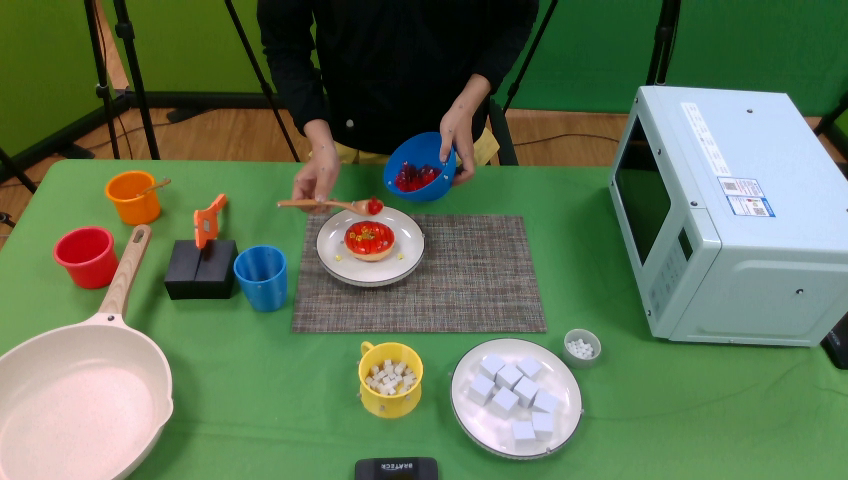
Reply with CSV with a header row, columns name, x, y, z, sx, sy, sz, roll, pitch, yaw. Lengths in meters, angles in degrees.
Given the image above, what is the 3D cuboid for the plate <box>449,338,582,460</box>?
name,x,y,z,sx,sy,sz,roll,pitch,yaw
plate,0.141,0.251,0.955,0.208,0.039,0.206,2,47,-2

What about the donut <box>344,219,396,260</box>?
name,x,y,z,sx,sy,sz,roll,pitch,yaw
donut,-0.103,-0.003,1.158,0.099,0.048,0.098,3,43,-2

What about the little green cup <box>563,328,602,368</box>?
name,x,y,z,sx,sy,sz,roll,pitch,yaw
little green cup,0.265,0.184,1.025,0.061,0.039,0.061,1,46,-1

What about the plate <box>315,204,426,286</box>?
name,x,y,z,sx,sy,sz,roll,pitch,yaw
plate,-0.101,0.012,1.159,0.209,0.038,0.208,2,46,-2

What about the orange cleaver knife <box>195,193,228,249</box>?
name,x,y,z,sx,sy,sz,roll,pitch,yaw
orange cleaver knife,-0.406,-0.041,1.163,0.012,0.077,0.210,0,18,-3

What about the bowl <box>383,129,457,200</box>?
name,x,y,z,sx,sy,sz,roll,pitch,yaw
bowl,0.006,-0.130,1.165,0.151,0.077,0.150,-18,49,22

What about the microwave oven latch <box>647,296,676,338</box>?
name,x,y,z,sx,sy,sz,roll,pitch,yaw
microwave oven latch,0.413,0.133,1.060,0.030,0.029,0.078,4,46,1

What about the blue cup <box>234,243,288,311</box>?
name,x,y,z,sx,sy,sz,roll,pitch,yaw
blue cup,-0.276,0.072,1.052,0.093,0.101,0.092,1,48,-1

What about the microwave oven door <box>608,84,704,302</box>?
name,x,y,z,sx,sy,sz,roll,pitch,yaw
microwave oven door,0.424,-0.096,1.138,0.039,0.245,0.353,2,46,-1

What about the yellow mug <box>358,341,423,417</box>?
name,x,y,z,sx,sy,sz,roll,pitch,yaw
yellow mug,-0.062,0.210,0.961,0.100,0.064,0.130,-29,54,-27

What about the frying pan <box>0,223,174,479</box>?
name,x,y,z,sx,sy,sz,roll,pitch,yaw
frying pan,-0.505,0.169,0.941,0.307,0.103,0.485,5,54,-1

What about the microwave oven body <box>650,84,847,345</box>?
name,x,y,z,sx,sy,sz,roll,pitch,yaw
microwave oven body,0.569,-0.054,1.116,0.326,0.261,0.439,2,46,-1

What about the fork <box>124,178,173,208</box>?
name,x,y,z,sx,sy,sz,roll,pitch,yaw
fork,-0.525,-0.090,1.153,0.207,0.019,0.028,-18,27,45

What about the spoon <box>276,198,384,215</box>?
name,x,y,z,sx,sy,sz,roll,pitch,yaw
spoon,-0.166,-0.065,1.082,0.194,0.022,0.041,4,46,-24
